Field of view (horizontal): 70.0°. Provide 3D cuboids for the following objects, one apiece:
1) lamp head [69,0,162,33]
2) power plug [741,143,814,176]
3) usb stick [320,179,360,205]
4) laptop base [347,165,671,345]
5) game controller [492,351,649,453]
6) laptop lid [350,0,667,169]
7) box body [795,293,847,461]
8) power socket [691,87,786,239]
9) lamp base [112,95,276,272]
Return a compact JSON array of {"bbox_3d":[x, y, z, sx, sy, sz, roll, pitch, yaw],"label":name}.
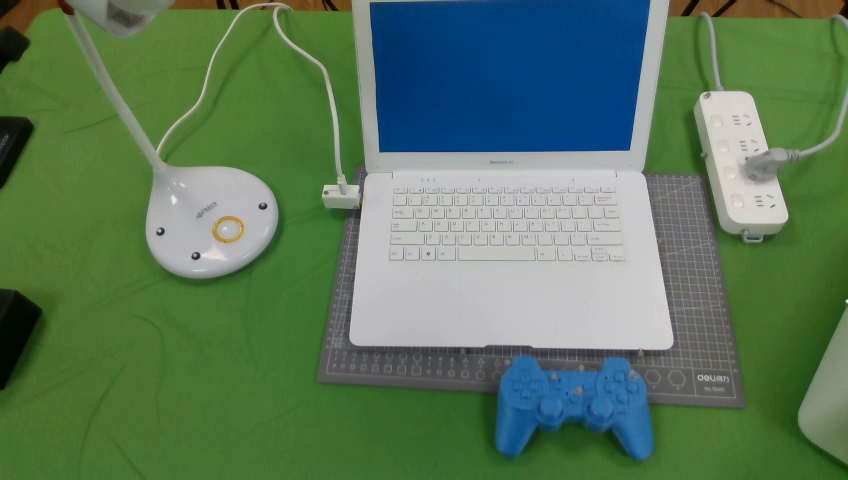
[{"bbox_3d":[-0.243,-0.224,0.425,0.123,0.112,0.112,30,63,-7],"label":"lamp head"},{"bbox_3d":[0.418,-0.089,0.725,0.072,0.053,0.035,11,60,8],"label":"power plug"},{"bbox_3d":[-0.098,-0.059,0.752,0.059,0.027,0.021,4,54,2],"label":"usb stick"},{"bbox_3d":[0.094,0.012,0.716,0.354,0.023,0.233,0,64,3],"label":"laptop base"},{"bbox_3d":[0.147,0.160,0.611,0.155,0.052,0.096,1,57,3],"label":"game controller"},{"bbox_3d":[0.094,-0.191,0.717,0.356,0.243,0.013,-1,29,3],"label":"laptop lid"},{"bbox_3d":[0.555,0.088,0.567,0.252,0.162,0.363,33,67,19],"label":"box body"},{"bbox_3d":[0.391,-0.106,0.762,0.072,0.033,0.224,2,60,2],"label":"power socket"},{"bbox_3d":[-0.279,-0.075,0.692,0.178,0.182,0.160,27,64,20],"label":"lamp base"}]
